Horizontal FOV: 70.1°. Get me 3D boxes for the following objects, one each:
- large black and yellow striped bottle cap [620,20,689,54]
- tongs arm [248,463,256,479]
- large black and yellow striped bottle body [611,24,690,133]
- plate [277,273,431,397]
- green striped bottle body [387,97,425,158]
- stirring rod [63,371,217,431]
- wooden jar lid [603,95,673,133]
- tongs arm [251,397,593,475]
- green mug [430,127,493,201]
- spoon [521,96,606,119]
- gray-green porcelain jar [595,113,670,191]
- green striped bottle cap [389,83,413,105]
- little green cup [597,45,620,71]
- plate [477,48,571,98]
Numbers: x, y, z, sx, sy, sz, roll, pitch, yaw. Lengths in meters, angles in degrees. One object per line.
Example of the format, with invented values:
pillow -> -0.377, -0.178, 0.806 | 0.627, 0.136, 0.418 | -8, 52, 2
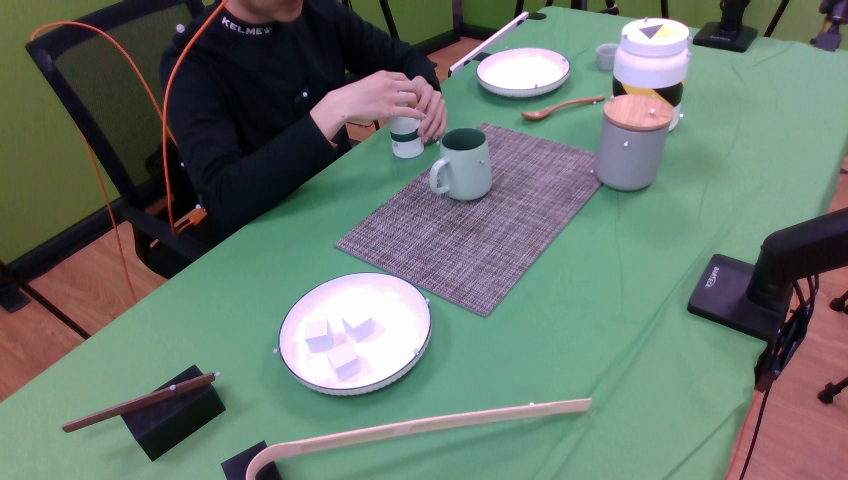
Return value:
large black and yellow striped bottle cap -> 0.411, -0.363, 1.080 | 0.115, 0.019, 0.114 | -3, 42, 4
tongs arm -> 0.012, 0.262, 0.615 | 0.385, 0.026, 0.050 | 2, 42, -2
large black and yellow striped bottle body -> 0.420, -0.299, 1.132 | 0.131, 0.185, 0.130 | -5, 41, 4
plate -> -0.091, 0.129, 0.821 | 0.207, 0.039, 0.206 | -4, 40, 4
green striped bottle body -> -0.035, -0.223, 1.160 | 0.063, 0.120, 0.063 | -4, 39, 4
stirring rod -> -0.337, 0.192, 0.723 | 0.177, 0.014, 0.005 | -18, 42, -12
wooden jar lid -> 0.343, -0.200, 0.973 | 0.108, 0.021, 0.108 | -1, 39, 2
tongs arm -> 0.008, 0.212, 0.675 | 0.389, 0.028, 0.028 | -5, 46, -11
green mug -> 0.060, -0.122, 1.034 | 0.126, 0.105, 0.091 | -35, 48, -28
spoon -> 0.291, -0.277, 1.249 | 0.194, 0.022, 0.041 | -18, 22, -11
gray-green porcelain jar -> 0.346, -0.155, 1.017 | 0.106, 0.127, 0.105 | -2, 44, 2
green striped bottle cap -> -0.043, -0.270, 1.126 | 0.044, 0.020, 0.044 | 0, 60, 0
little green cup -> 0.423, -0.413, 1.376 | 0.061, 0.039, 0.061 | -4, 41, 4
plate -> 0.223, -0.371, 1.357 | 0.209, 0.038, 0.208 | -4, 41, 4
